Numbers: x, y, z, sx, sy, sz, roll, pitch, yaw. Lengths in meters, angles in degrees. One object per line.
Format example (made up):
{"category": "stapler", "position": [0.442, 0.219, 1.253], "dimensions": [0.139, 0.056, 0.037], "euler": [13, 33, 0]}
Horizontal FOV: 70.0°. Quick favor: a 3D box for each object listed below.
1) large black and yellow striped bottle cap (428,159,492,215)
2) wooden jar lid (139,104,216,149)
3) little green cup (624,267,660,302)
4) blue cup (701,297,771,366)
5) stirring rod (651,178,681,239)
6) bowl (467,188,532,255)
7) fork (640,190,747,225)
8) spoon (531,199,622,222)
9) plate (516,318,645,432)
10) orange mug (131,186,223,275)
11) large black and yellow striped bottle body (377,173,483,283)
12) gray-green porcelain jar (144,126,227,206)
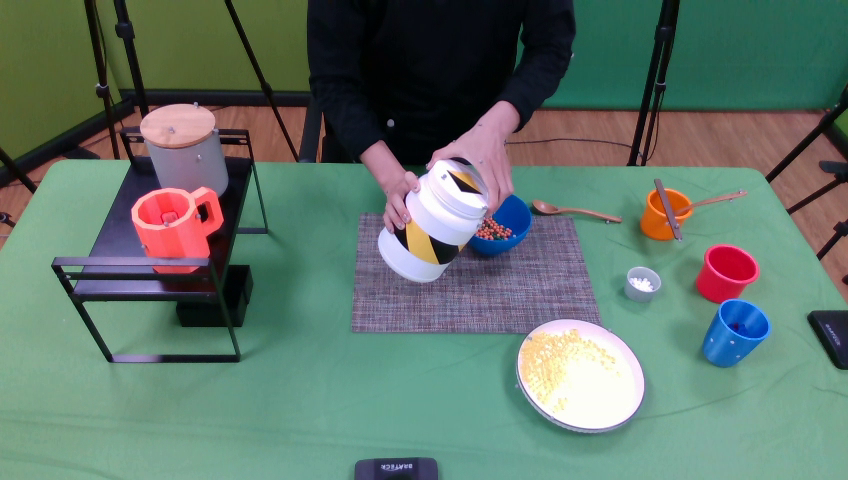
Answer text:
{"category": "large black and yellow striped bottle cap", "position": [0.059, -0.086, 0.976], "dimensions": [0.115, 0.019, 0.114], "euler": [26, 35, -19]}
{"category": "wooden jar lid", "position": [-0.372, -0.169, 0.920], "dimensions": [0.108, 0.021, 0.107], "euler": [4, 44, -4]}
{"category": "little green cup", "position": [0.406, 0.084, 1.135], "dimensions": [0.061, 0.039, 0.061], "euler": [3, 46, -3]}
{"category": "blue cup", "position": [0.519, 0.162, 1.025], "dimensions": [0.093, 0.101, 0.092], "euler": [3, 45, -3]}
{"category": "stirring rod", "position": [0.479, -0.065, 1.204], "dimensions": [0.014, 0.006, 0.175], "euler": [3, 46, -3]}
{"category": "bowl", "position": [0.130, -0.025, 1.186], "dimensions": [0.151, 0.077, 0.150], "euler": [2, 46, -2]}
{"category": "fork", "position": [0.533, -0.064, 1.211], "dimensions": [0.207, 0.019, 0.028], "euler": [-22, 28, 38]}
{"category": "spoon", "position": [0.322, -0.060, 1.279], "dimensions": [0.194, 0.022, 0.041], "euler": [8, 32, 5]}
{"category": "plate", "position": [0.253, 0.221, 0.992], "dimensions": [0.209, 0.038, 0.208], "euler": [2, 46, -2]}
{"category": "orange mug", "position": [-0.354, -0.023, 0.887], "dimensions": [0.083, 0.101, 0.126], "euler": [31, 56, 24]}
{"category": "large black and yellow striped bottle body", "position": [0.017, -0.031, 1.022], "dimensions": [0.131, 0.184, 0.130], "euler": [25, 35, -19]}
{"category": "gray-green porcelain jar", "position": [-0.375, -0.126, 0.967], "dimensions": [0.106, 0.127, 0.105], "euler": [2, 46, -2]}
